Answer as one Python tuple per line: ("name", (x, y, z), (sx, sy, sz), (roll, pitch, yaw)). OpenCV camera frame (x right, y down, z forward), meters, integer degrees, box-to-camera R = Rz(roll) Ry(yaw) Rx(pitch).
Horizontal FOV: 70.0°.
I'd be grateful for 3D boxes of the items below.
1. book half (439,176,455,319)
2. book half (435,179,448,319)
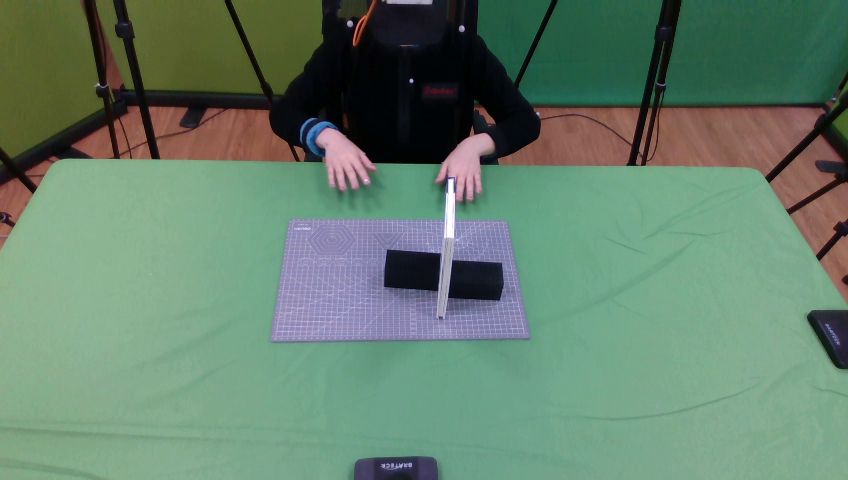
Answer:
("book half", (0.038, 0.017, 1.047), (0.016, 0.211, 0.147), (3, 46, 0))
("book half", (0.031, 0.019, 1.045), (0.007, 0.211, 0.142), (4, 46, 1))
